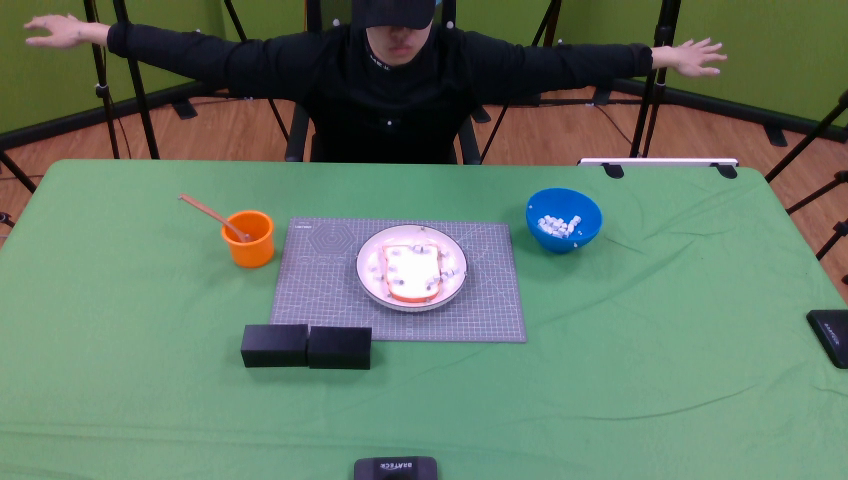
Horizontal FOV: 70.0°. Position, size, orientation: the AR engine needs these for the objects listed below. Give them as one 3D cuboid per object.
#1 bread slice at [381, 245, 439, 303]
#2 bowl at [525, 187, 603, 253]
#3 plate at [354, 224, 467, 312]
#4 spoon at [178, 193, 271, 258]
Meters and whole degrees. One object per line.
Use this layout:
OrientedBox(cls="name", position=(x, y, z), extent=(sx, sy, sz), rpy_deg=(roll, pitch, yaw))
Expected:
OrientedBox(cls="bread slice", position=(-0.022, 0.061, 1.126), extent=(0.107, 0.018, 0.133), rpy_deg=(-3, 45, -8))
OrientedBox(cls="bowl", position=(0.271, -0.028, 1.206), extent=(0.151, 0.077, 0.150), rpy_deg=(2, 46, -2))
OrientedBox(cls="plate", position=(-0.025, 0.055, 1.128), extent=(0.209, 0.038, 0.208), rpy_deg=(3, 46, -3))
OrientedBox(cls="spoon", position=(-0.362, -0.028, 1.109), extent=(0.195, 0.021, 0.041), rpy_deg=(42, 35, -27))
